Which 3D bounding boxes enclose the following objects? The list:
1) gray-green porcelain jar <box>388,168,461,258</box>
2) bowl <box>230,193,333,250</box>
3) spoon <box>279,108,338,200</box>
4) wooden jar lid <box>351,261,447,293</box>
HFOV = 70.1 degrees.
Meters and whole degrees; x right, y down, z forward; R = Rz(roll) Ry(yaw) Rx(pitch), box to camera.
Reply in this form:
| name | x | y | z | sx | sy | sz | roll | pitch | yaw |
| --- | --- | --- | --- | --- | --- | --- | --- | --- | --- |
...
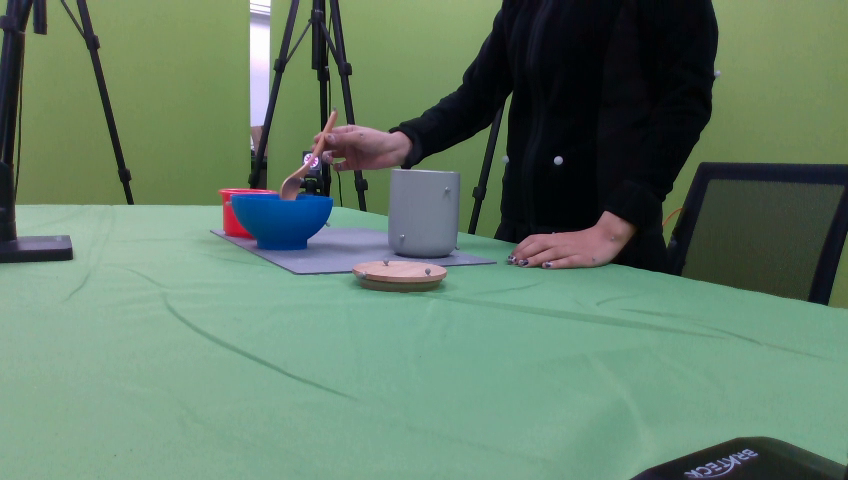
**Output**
| name | x | y | z | sx | sy | sz | roll | pitch | yaw |
| --- | --- | --- | --- | --- | --- | --- | --- | --- | --- |
| gray-green porcelain jar | 0.000 | -0.041 | 0.897 | 0.106 | 0.126 | 0.106 | 2 | 7 | 0 |
| bowl | -0.214 | -0.028 | 0.912 | 0.151 | 0.077 | 0.151 | 2 | 8 | 0 |
| spoon | -0.180 | -0.132 | 0.964 | 0.021 | 0.193 | 0.042 | 18 | -22 | 27 |
| wooden jar lid | -0.028 | 0.042 | 0.687 | 0.108 | 0.020 | 0.108 | 3 | 8 | 0 |
